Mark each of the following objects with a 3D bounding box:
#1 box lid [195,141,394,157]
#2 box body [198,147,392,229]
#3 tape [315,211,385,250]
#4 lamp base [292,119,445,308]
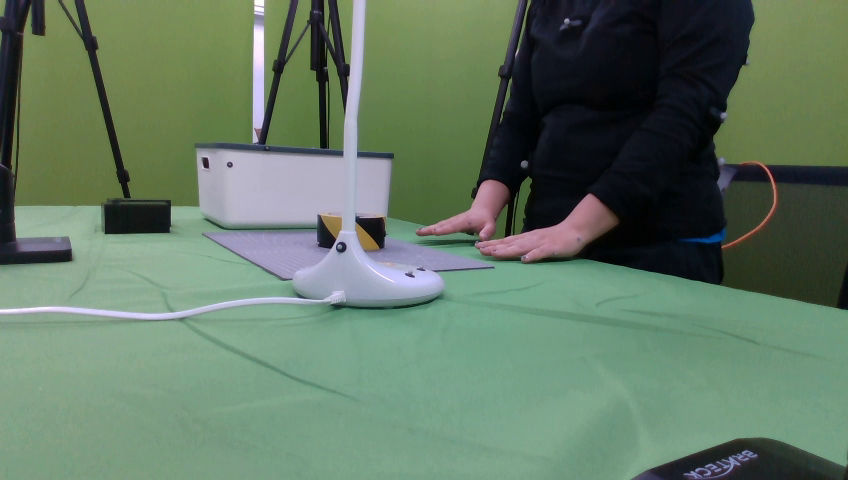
[{"bbox_3d":[-0.277,-0.190,1.282,0.373,0.015,0.262,-1,8,-30],"label":"box lid"},{"bbox_3d":[-0.278,-0.117,1.292,0.366,0.160,0.253,-2,8,-30],"label":"box body"},{"bbox_3d":[-0.119,-0.017,0.973,0.117,0.052,0.117,2,7,0],"label":"tape"},{"bbox_3d":[-0.056,-0.030,0.616,0.160,0.180,0.179,3,10,8],"label":"lamp base"}]
